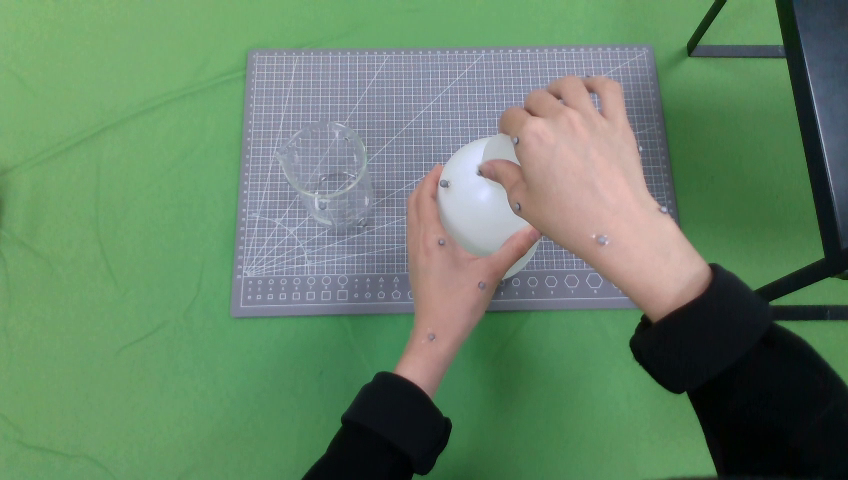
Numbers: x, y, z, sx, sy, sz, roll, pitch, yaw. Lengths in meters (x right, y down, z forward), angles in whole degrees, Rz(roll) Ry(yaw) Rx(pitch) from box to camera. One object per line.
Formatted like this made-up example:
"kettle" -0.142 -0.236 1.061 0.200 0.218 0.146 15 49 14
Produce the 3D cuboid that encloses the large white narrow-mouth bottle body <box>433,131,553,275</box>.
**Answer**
"large white narrow-mouth bottle body" 0.058 -0.036 0.523 0.102 0.195 0.101 0 74 1

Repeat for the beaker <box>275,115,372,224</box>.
"beaker" -0.091 -0.062 0.577 0.084 0.101 0.073 8 73 3

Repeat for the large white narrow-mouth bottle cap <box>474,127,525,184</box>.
"large white narrow-mouth bottle cap" 0.055 -0.061 0.438 0.038 0.024 0.037 0 74 1
